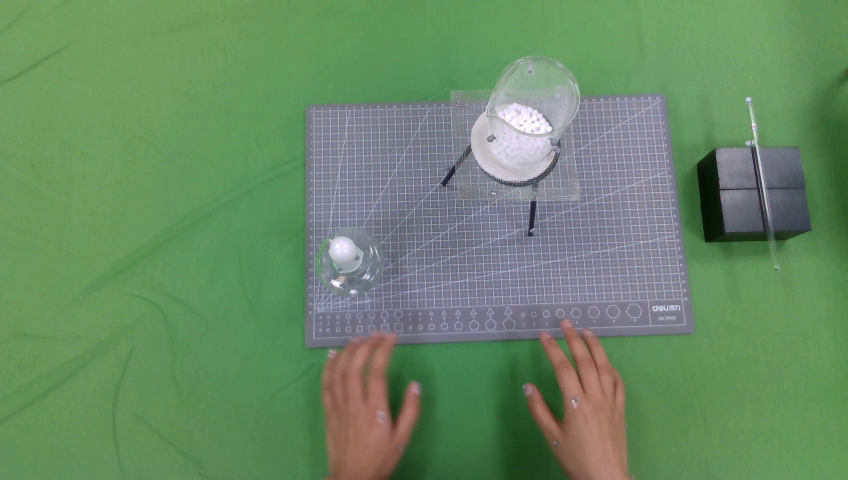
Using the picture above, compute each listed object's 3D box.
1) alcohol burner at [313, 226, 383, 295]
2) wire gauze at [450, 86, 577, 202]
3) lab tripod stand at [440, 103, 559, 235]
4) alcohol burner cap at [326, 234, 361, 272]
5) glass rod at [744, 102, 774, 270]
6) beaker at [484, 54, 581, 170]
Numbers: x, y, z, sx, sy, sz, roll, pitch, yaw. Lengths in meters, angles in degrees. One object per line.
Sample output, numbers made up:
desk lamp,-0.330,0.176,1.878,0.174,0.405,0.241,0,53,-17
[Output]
alcohol burner,-0.084,0.019,0.658,0.078,0.119,0.077,0,79,-1
wire gauze,0.090,-0.097,0.608,0.125,0.011,0.121,-1,79,-3
lab tripod stand,0.093,-0.087,0.673,0.148,0.132,0.147,0,76,0
alcohol burner cap,-0.084,0.012,0.623,0.034,0.048,0.033,-1,73,3
glass rod,0.381,-0.064,0.691,0.008,0.008,0.199,-2,78,-1
beaker,0.092,-0.112,0.562,0.084,0.100,0.073,-18,78,-4
